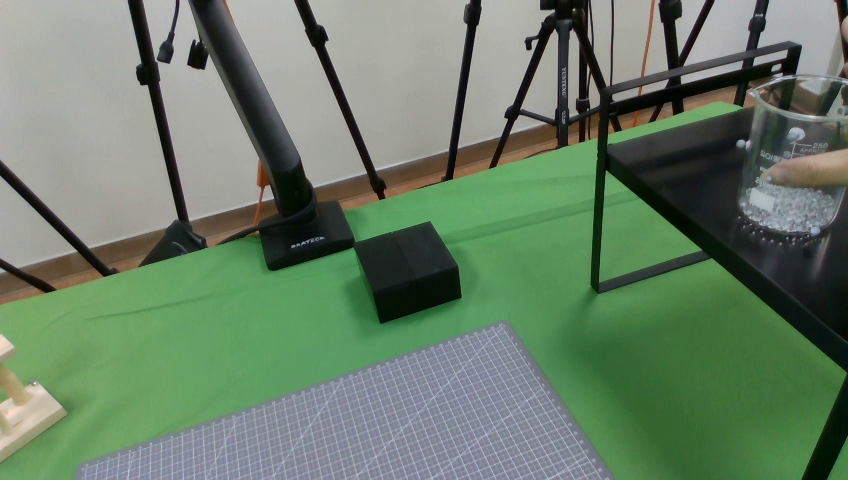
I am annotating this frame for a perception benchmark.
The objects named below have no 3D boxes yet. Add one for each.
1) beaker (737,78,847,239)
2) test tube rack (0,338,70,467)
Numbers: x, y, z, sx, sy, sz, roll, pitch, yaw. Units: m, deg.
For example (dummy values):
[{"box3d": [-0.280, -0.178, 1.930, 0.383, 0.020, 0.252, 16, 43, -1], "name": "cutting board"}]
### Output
[{"box3d": [0.275, -0.059, 0.447, 0.074, 0.101, 0.083, -33, 42, -30], "name": "beaker"}, {"box3d": [-0.477, 0.206, 0.559, 0.066, 0.086, 0.242, 21, 45, 34], "name": "test tube rack"}]
